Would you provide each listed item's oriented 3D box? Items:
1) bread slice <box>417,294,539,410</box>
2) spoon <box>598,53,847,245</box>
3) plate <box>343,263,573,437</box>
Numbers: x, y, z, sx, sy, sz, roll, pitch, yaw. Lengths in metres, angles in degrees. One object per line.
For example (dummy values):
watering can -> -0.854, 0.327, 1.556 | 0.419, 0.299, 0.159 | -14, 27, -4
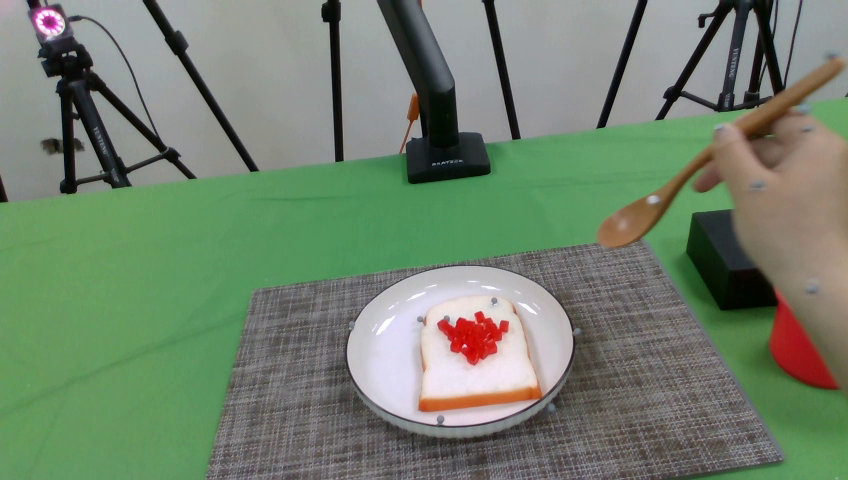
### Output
bread slice -> 0.043, 0.098, 0.562 | 0.105, 0.019, 0.130 | -6, 36, 1
spoon -> 0.185, -0.051, 0.398 | 0.022, 0.194, 0.041 | 28, 49, -11
plate -> 0.030, 0.098, 0.560 | 0.209, 0.038, 0.207 | -5, 35, 4
